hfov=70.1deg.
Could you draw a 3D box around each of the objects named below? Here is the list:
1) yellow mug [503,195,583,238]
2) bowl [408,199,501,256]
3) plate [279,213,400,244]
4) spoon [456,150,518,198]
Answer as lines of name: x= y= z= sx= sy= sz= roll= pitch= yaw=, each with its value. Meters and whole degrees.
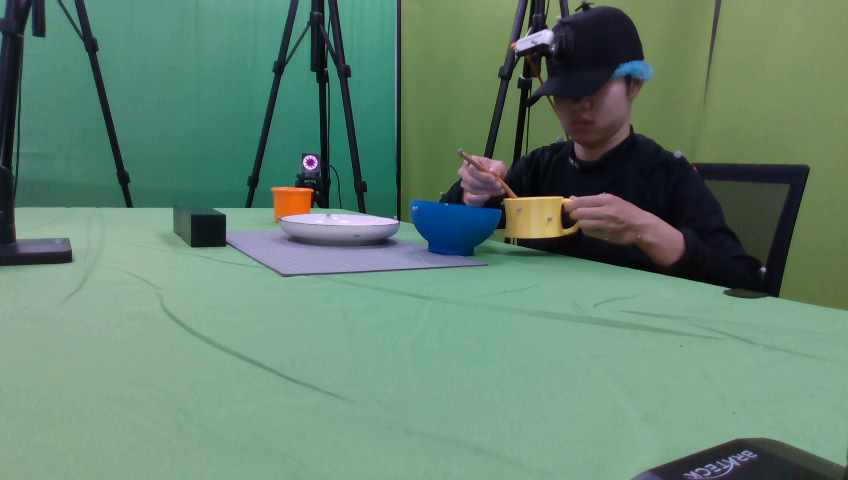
yellow mug: x=0.197 y=-0.041 z=1.003 sx=0.130 sy=0.064 sz=0.100 roll=1 pitch=6 yaw=16
bowl: x=0.045 y=-0.019 z=0.968 sx=0.151 sy=0.077 sz=0.151 roll=6 pitch=5 yaw=0
plate: x=-0.147 y=-0.020 z=1.060 sx=0.209 sy=0.038 sz=0.209 roll=3 pitch=7 yaw=0
spoon: x=0.129 y=-0.089 z=1.003 sx=0.194 sy=0.021 sz=0.041 roll=40 pitch=-3 yaw=-11
